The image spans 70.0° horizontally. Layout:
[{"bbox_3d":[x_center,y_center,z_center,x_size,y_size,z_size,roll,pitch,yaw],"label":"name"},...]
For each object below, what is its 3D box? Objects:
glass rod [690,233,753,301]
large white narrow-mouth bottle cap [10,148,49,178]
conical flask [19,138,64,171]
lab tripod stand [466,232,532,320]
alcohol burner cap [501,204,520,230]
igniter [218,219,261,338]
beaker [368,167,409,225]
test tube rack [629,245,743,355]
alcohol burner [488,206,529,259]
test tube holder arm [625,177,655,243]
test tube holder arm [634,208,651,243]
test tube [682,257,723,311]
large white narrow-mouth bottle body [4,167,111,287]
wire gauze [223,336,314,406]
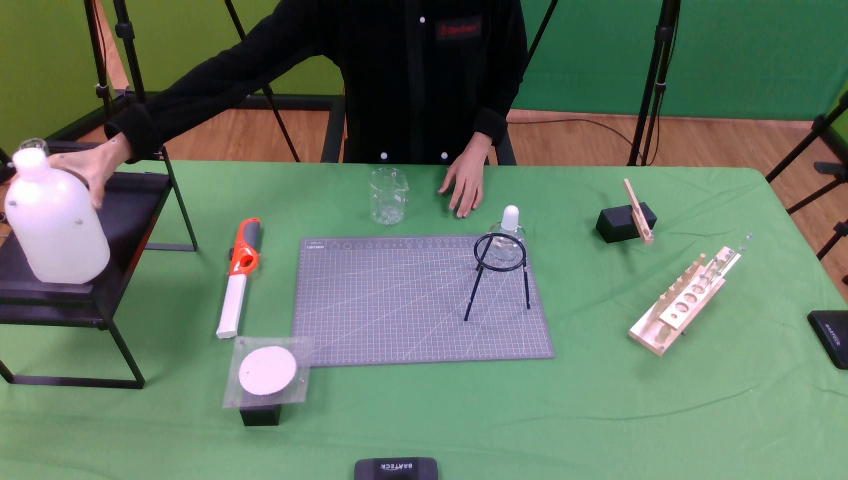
[{"bbox_3d":[0.507,0.053,1.041,0.008,0.200,0.008,5,51,-6],"label":"glass rod"},{"bbox_3d":[-0.493,-0.097,0.758,0.038,0.024,0.037,4,43,-3],"label":"large white narrow-mouth bottle cap"},{"bbox_3d":[-0.576,-0.097,0.930,0.075,0.122,0.075,2,46,-2],"label":"conical flask"},{"bbox_3d":[0.125,0.059,1.065,0.148,0.132,0.147,1,45,0],"label":"lab tripod stand"},{"bbox_3d":[0.164,-0.046,1.133,0.034,0.048,0.033,2,40,-2],"label":"alcohol burner cap"},{"bbox_3d":[-0.336,0.060,1.111,0.057,0.025,0.274,-8,46,4],"label":"igniter"},{"bbox_3d":[-0.070,-0.085,1.219,0.084,0.101,0.074,21,49,15],"label":"beaker"},{"bbox_3d":[0.474,0.095,1.091,0.242,0.085,0.066,-34,56,-31],"label":"test tube rack"},{"bbox_3d":[0.163,-0.020,1.158,0.078,0.120,0.077,0,47,0],"label":"alcohol burner"},{"bbox_3d":[0.433,-0.062,1.220,0.013,0.015,0.177,1,47,-3],"label":"test tube holder arm"},{"bbox_3d":[0.428,-0.030,1.189,0.010,0.015,0.087,1,47,-2],"label":"test tube holder arm"},{"bbox_3d":[0.474,0.080,1.037,0.017,0.151,0.017,1,51,-1],"label":"test tube"},{"bbox_3d":[-0.500,-0.033,0.819,0.102,0.195,0.101,4,43,-3],"label":"large white narrow-mouth bottle body"},{"bbox_3d":[-0.237,0.197,0.931,0.121,0.011,0.124,1,45,-4],"label":"wire gauze"}]
